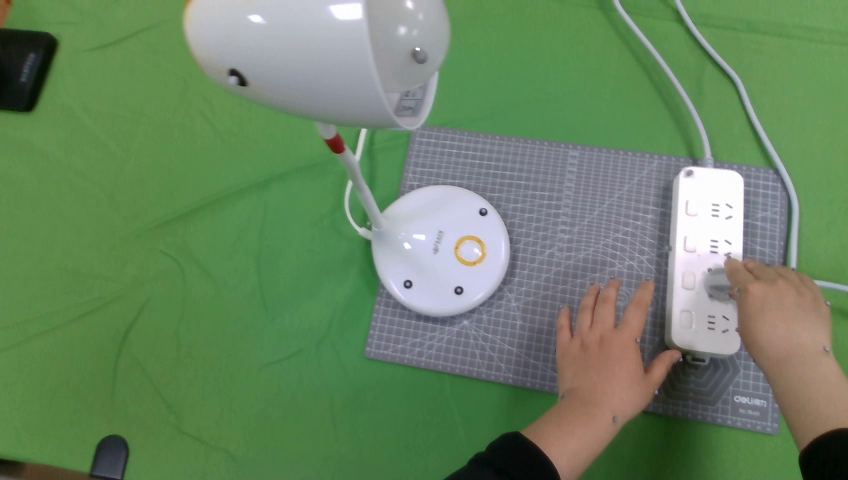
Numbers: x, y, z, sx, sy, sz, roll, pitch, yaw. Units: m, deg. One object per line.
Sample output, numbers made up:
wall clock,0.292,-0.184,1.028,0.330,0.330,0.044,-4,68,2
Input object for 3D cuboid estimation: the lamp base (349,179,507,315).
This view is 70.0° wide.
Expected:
lamp base,-0.005,-0.014,0.638,0.179,0.181,0.159,3,74,10

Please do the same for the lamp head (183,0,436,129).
lamp head,-0.061,-0.112,0.329,0.122,0.113,0.112,-1,73,22

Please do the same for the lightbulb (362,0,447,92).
lightbulb,-0.041,-0.109,0.314,0.107,0.060,0.059,9,75,17

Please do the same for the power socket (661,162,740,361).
power socket,0.307,0.019,0.672,0.072,0.033,0.225,7,75,7

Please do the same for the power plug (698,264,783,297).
power plug,0.328,0.049,0.637,0.072,0.053,0.035,20,79,15
